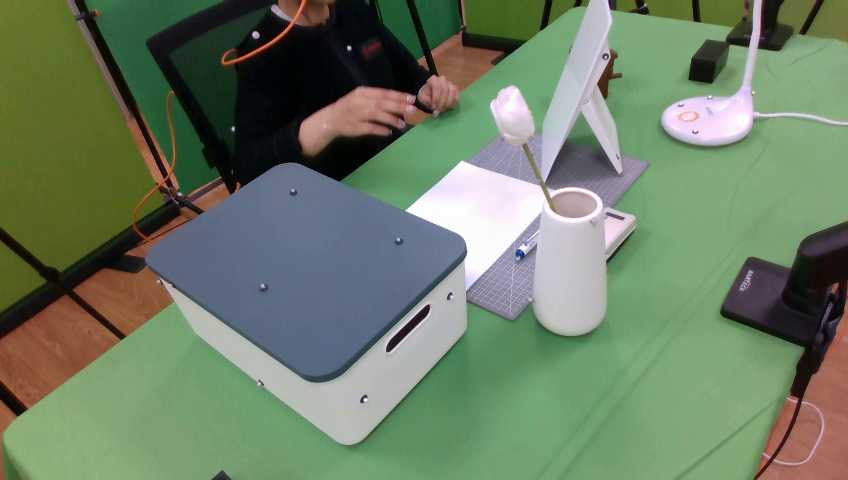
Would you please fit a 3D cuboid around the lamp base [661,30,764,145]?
[{"bbox_3d":[0.535,-0.287,1.095,0.179,0.181,0.159,-10,40,-4],"label":"lamp base"}]

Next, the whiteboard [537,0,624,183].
[{"bbox_3d":[0.316,-0.256,1.047,0.144,0.306,0.216,15,42,-1],"label":"whiteboard"}]

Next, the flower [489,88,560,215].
[{"bbox_3d":[0.159,-0.028,0.720,0.038,0.364,0.044,-14,44,23],"label":"flower"}]

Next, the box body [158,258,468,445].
[{"bbox_3d":[-0.147,0.072,0.816,0.361,0.161,0.255,24,50,33],"label":"box body"}]

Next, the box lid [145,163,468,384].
[{"bbox_3d":[-0.157,0.014,0.769,0.368,0.015,0.264,25,51,33],"label":"box lid"}]

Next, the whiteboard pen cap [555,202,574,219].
[{"bbox_3d":[0.230,-0.048,0.994,0.018,0.018,0.033,26,54,34],"label":"whiteboard pen cap"}]

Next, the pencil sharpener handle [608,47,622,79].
[{"bbox_3d":[0.395,-0.369,1.254,0.031,0.068,0.036,-10,32,-1],"label":"pencil sharpener handle"}]

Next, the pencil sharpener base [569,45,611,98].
[{"bbox_3d":[0.346,-0.352,1.262,0.077,0.107,0.061,-10,40,-1],"label":"pencil sharpener base"}]

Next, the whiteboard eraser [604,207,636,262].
[{"bbox_3d":[0.272,-0.003,0.919,0.055,0.042,0.113,27,51,32],"label":"whiteboard eraser"}]

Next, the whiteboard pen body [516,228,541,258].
[{"bbox_3d":[0.192,-0.015,0.963,0.017,0.017,0.141,26,51,34],"label":"whiteboard pen body"}]

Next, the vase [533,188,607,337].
[{"bbox_3d":[0.187,0.033,0.771,0.098,0.201,0.097,-6,41,6],"label":"vase"}]
